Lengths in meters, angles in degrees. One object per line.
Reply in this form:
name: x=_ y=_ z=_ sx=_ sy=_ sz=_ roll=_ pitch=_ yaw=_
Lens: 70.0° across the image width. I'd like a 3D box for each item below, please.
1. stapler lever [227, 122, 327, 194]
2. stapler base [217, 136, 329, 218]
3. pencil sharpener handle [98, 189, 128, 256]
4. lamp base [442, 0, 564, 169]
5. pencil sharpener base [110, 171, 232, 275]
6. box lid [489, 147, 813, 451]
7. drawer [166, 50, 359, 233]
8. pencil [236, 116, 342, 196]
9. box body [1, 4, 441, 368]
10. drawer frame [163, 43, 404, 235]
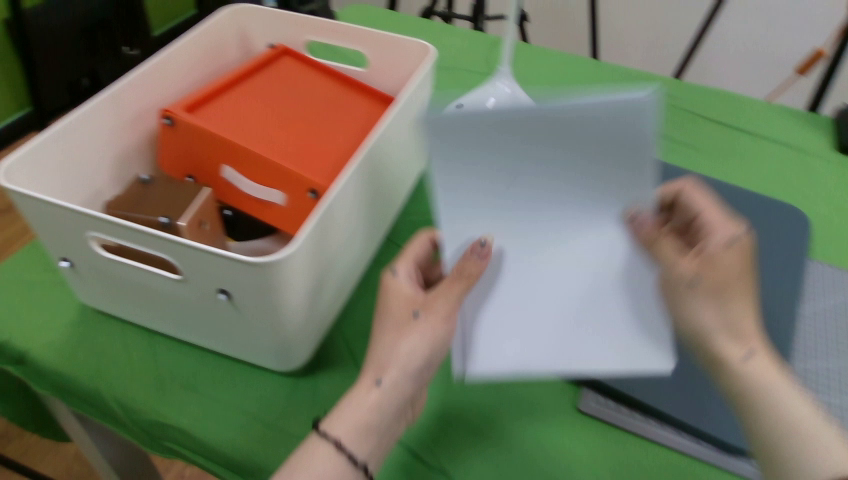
stapler lever: x=-0.146 y=-0.089 z=0.604 sx=0.117 sy=0.040 sz=0.027 roll=36 pitch=38 yaw=15
stapler base: x=-0.152 y=-0.071 z=0.619 sx=0.130 sy=0.024 sz=0.041 roll=35 pitch=38 yaw=16
pencil sharpener handle: x=-0.283 y=-0.017 z=0.553 sx=0.030 sy=0.068 sz=0.036 roll=10 pitch=12 yaw=7
lamp base: x=0.107 y=-0.209 z=0.755 sx=0.161 sy=0.182 sz=0.177 roll=2 pitch=42 yaw=-2
pencil sharpener base: x=-0.231 y=-0.003 z=0.563 sx=0.076 sy=0.108 sz=0.061 roll=10 pitch=45 yaw=7
box lid: x=0.256 y=0.027 z=0.646 sx=0.261 sy=0.015 sz=0.370 roll=24 pitch=47 yaw=20
drawer: x=-0.124 y=-0.105 z=0.642 sx=0.194 sy=0.073 sz=0.210 roll=26 pitch=38 yaw=3
pencil: x=-0.147 y=-0.091 z=0.644 sx=0.012 sy=0.012 sz=0.192 roll=-32 pitch=52 yaw=-31
box body: x=-0.158 y=-0.074 z=0.611 sx=0.253 sy=0.162 sz=0.362 roll=16 pitch=46 yaw=12
drawer frame: x=-0.124 y=-0.108 z=0.643 sx=0.201 sy=0.083 sz=0.212 roll=25 pitch=38 yaw=3
